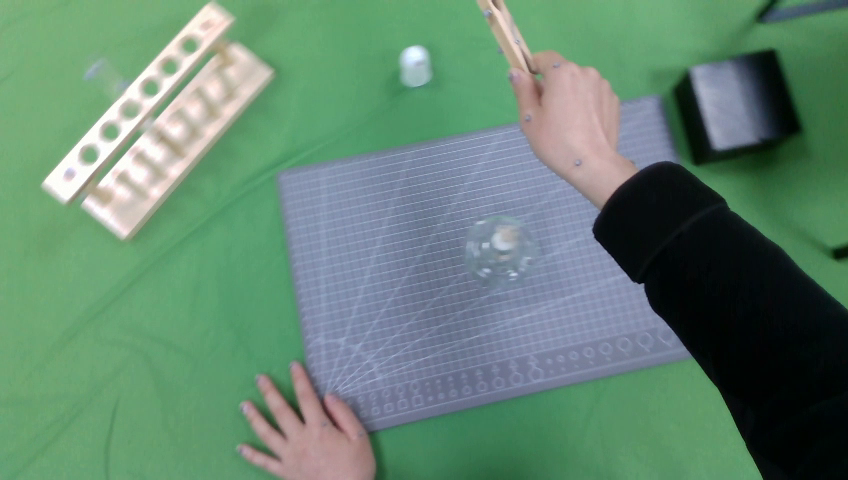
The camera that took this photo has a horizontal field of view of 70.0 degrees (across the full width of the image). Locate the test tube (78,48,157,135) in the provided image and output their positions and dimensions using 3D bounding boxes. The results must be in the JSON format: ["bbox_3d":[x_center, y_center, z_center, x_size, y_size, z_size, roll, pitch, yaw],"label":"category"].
[{"bbox_3d":[-0.297,-0.142,0.602,0.017,0.151,0.017,0,74,-1],"label":"test tube"}]

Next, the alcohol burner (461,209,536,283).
[{"bbox_3d":[0.076,0.002,0.612,0.078,0.119,0.077,0,77,2],"label":"alcohol burner"}]

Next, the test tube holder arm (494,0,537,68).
[{"bbox_3d":[0.073,-0.188,0.524,0.010,0.015,0.087,-24,86,-27],"label":"test tube holder arm"}]

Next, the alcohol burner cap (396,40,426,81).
[{"bbox_3d":[-0.016,-0.207,0.687,0.034,0.048,0.033,-1,75,3],"label":"alcohol burner cap"}]

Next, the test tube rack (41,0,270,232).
[{"bbox_3d":[-0.278,-0.130,0.650,0.066,0.085,0.242,37,81,7],"label":"test tube rack"}]

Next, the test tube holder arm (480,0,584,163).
[{"bbox_3d":[0.089,-0.145,0.519,0.013,0.015,0.178,-26,87,-27],"label":"test tube holder arm"}]
